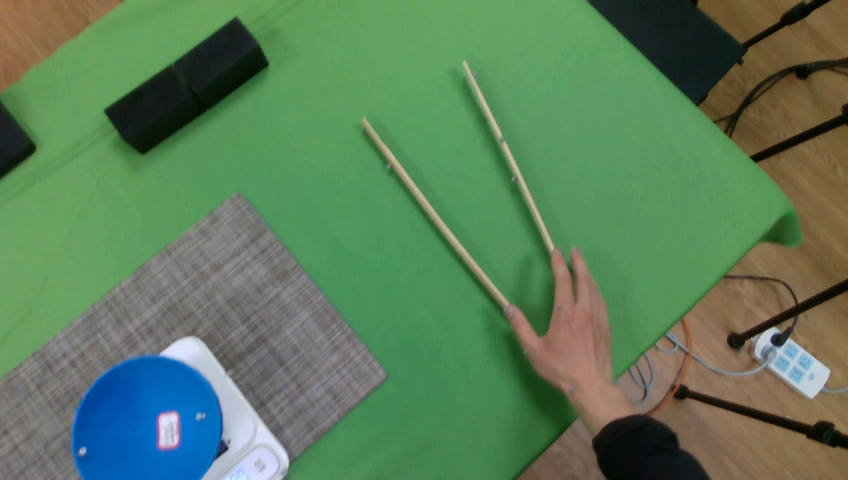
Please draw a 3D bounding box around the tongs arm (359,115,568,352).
[{"bbox_3d":[0.040,-0.010,0.747,0.028,0.028,0.386,-37,81,-10],"label":"tongs arm"}]

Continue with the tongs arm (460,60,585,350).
[{"bbox_3d":[0.110,-0.050,0.752,0.051,0.026,0.383,-25,80,-4],"label":"tongs arm"}]

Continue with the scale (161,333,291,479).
[{"bbox_3d":[-0.265,0.222,0.694,0.148,0.031,0.200,-39,81,-7],"label":"scale"}]

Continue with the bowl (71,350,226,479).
[{"bbox_3d":[-0.278,0.195,0.646,0.151,0.077,0.150,0,77,-1],"label":"bowl"}]
